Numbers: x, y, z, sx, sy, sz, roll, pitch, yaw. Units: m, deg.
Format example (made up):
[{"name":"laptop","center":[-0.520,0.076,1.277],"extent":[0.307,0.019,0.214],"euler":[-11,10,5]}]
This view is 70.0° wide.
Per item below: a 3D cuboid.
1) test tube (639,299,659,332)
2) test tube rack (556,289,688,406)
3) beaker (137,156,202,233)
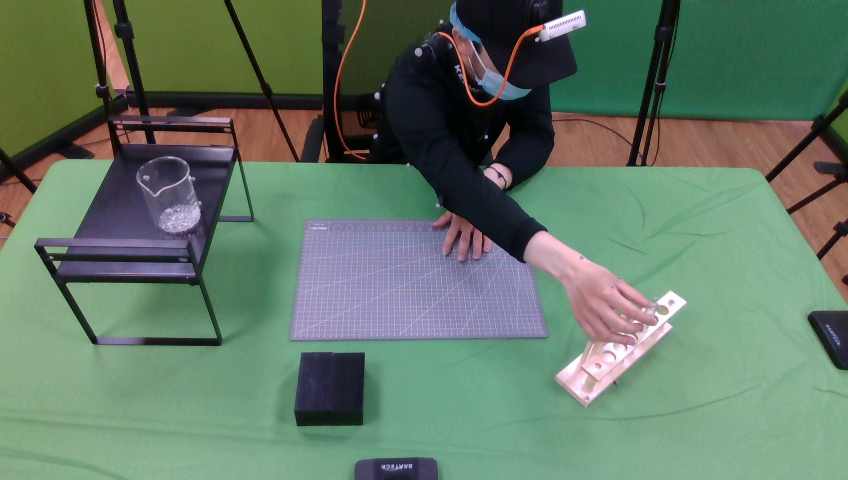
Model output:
[{"name":"test tube","center":[0.346,0.121,0.937],"extent":[0.017,0.151,0.017],"euler":[-5,65,11]},{"name":"test tube rack","center":[0.332,0.166,1.014],"extent":[0.242,0.085,0.066],"euler":[-30,55,-28]},{"name":"beaker","center":[-0.385,-0.064,0.925],"extent":[0.074,0.101,0.083],"euler":[2,47,-1]}]
